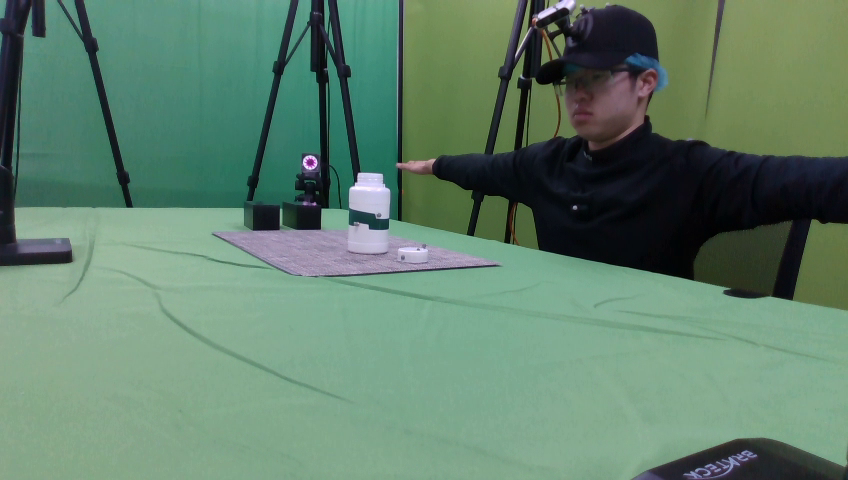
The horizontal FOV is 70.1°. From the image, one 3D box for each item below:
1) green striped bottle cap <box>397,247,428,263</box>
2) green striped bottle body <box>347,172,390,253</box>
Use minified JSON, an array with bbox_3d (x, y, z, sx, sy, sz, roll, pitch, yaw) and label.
[{"bbox_3d":[-0.016,0.021,0.850,0.044,0.020,0.044,1,5,0],"label":"green striped bottle cap"},{"bbox_3d":[-0.083,-0.043,0.913,0.063,0.119,0.063,2,7,0],"label":"green striped bottle body"}]
